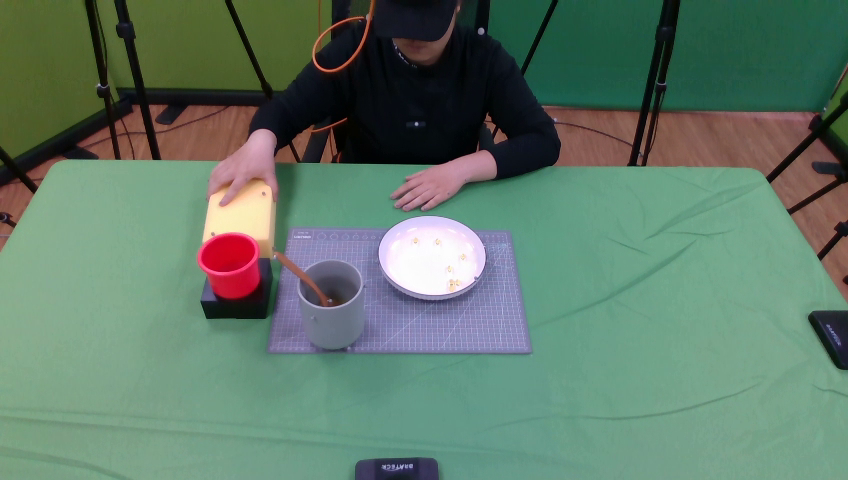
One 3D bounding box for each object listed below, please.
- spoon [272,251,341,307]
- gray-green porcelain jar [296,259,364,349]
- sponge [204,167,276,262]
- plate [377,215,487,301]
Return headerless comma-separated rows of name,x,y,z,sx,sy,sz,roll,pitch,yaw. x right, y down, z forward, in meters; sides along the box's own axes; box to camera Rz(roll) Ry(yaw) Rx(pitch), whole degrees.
spoon,-0.181,0.077,0.982,0.021,0.195,0.041,-8,46,28
gray-green porcelain jar,-0.152,0.111,1.003,0.106,0.127,0.105,2,46,-2
sponge,-0.358,-0.054,1.196,0.118,0.061,0.205,-4,47,-7
plate,0.014,0.037,1.147,0.208,0.039,0.206,2,46,-2
